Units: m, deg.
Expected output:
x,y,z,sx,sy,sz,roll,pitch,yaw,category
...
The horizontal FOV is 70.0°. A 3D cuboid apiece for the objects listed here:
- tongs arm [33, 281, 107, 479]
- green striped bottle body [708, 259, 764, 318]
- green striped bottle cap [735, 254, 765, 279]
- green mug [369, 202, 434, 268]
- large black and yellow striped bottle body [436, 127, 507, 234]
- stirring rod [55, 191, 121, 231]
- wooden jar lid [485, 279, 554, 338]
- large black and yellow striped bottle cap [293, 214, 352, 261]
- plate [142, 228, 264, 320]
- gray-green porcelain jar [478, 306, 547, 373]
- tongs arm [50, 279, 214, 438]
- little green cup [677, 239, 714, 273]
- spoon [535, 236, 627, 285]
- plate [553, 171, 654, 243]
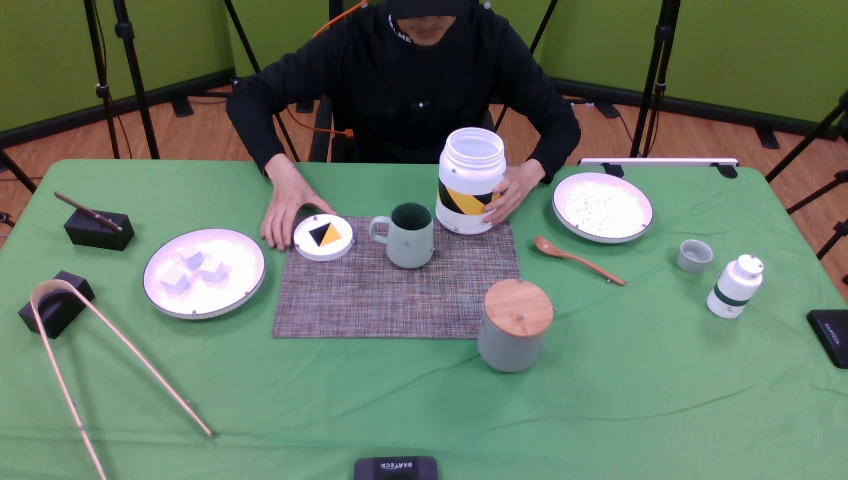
x,y,z,sx,sy,sz,roll,pitch,yaw,category
-0.517,0.214,0.909,0.051,0.026,0.383,-29,63,-26,tongs arm
0.563,0.081,1.089,0.063,0.120,0.063,2,46,-2,green striped bottle body
0.566,0.046,1.051,0.044,0.020,0.044,0,45,0,green striped bottle cap
-0.043,-0.010,1.140,0.125,0.105,0.092,8,47,3,green mug
0.093,-0.118,1.199,0.131,0.185,0.130,2,42,-2,large black and yellow striped bottle body
-0.632,-0.055,1.138,0.175,0.014,0.006,24,50,19,stirring rod
0.147,0.108,0.940,0.108,0.021,0.107,4,47,-4,wooden jar lid
-0.198,-0.007,1.186,0.115,0.019,0.114,3,47,-3,large black and yellow striped bottle cap
-0.394,0.064,1.095,0.208,0.039,0.206,2,46,-2,plate
0.144,0.148,0.989,0.106,0.127,0.105,2,50,-2,gray-green porcelain jar
-0.459,0.178,0.949,0.386,0.028,0.028,37,60,17,tongs arm
0.530,0.033,1.189,0.061,0.039,0.061,2,47,-2,little green cup
0.304,0.040,1.178,0.193,0.022,0.041,25,34,19,spoon
0.373,-0.066,1.274,0.209,0.038,0.208,2,46,-2,plate
